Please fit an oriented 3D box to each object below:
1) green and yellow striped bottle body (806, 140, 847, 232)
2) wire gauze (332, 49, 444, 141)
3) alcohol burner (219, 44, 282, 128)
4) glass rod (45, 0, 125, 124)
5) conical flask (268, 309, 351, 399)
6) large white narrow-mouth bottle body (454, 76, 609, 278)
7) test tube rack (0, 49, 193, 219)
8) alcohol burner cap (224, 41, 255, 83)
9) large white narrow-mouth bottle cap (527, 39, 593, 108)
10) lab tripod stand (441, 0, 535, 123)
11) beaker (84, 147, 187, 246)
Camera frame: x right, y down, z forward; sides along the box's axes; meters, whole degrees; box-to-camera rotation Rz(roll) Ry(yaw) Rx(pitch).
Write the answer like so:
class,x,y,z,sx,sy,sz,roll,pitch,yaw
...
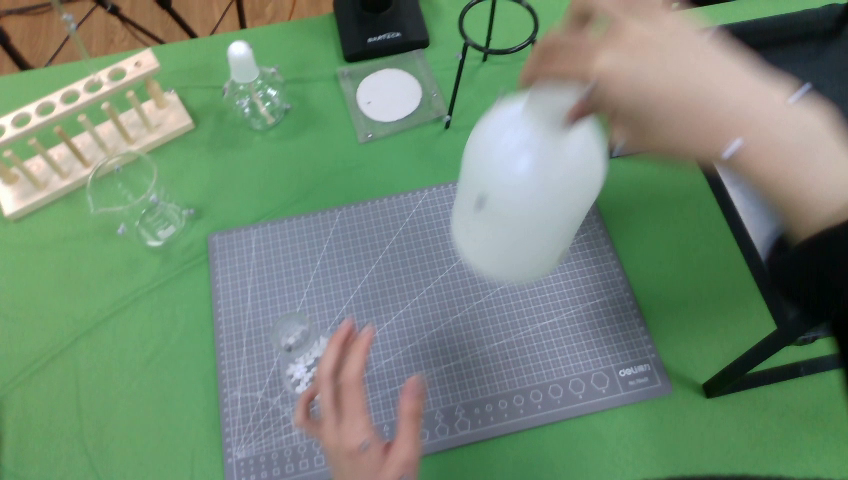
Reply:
class,x,y,z,sx,sy,sz,roll,pitch,yaw
green and yellow striped bottle body,0.344,-0.059,0.447,0.063,0.120,0.062,-1,63,3
wire gauze,-0.048,-0.196,0.794,0.121,0.011,0.124,-17,64,-7
alcohol burner,-0.216,-0.193,0.741,0.078,0.120,0.077,-1,61,2
glass rod,-0.382,-0.199,0.691,0.008,0.201,0.008,1,61,-2
conical flask,-0.115,0.104,0.581,0.075,0.123,0.074,-1,63,2
large white narrow-mouth bottle body,0.079,-0.056,0.443,0.102,0.196,0.101,1,60,-2
test tube rack,-0.419,-0.128,0.732,0.242,0.086,0.066,-31,66,-13
alcohol burner cap,-0.218,-0.212,0.709,0.034,0.048,0.033,3,61,-5
large white narrow-mouth bottle cap,0.082,-0.101,0.368,0.038,0.024,0.037,2,60,-2
lab tripod stand,0.083,-0.214,0.728,0.148,0.132,0.147,0,62,1
beaker,-0.318,-0.041,0.677,0.073,0.101,0.084,31,69,17
